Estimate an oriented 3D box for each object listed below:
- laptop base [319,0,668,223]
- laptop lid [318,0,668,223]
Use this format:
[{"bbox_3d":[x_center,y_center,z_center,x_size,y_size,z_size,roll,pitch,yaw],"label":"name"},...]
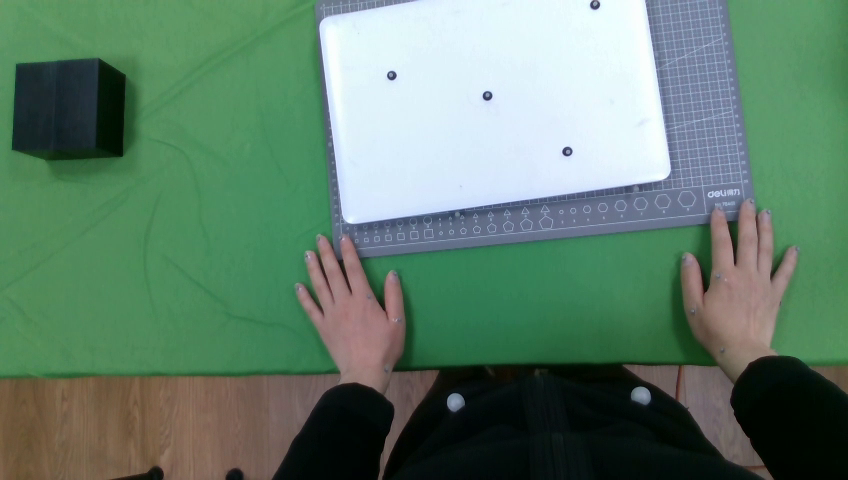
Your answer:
[{"bbox_3d":[0.069,-0.156,0.663,0.354,0.023,0.235,-8,88,5],"label":"laptop base"},{"bbox_3d":[0.068,-0.155,0.651,0.356,0.013,0.241,-6,87,5],"label":"laptop lid"}]
